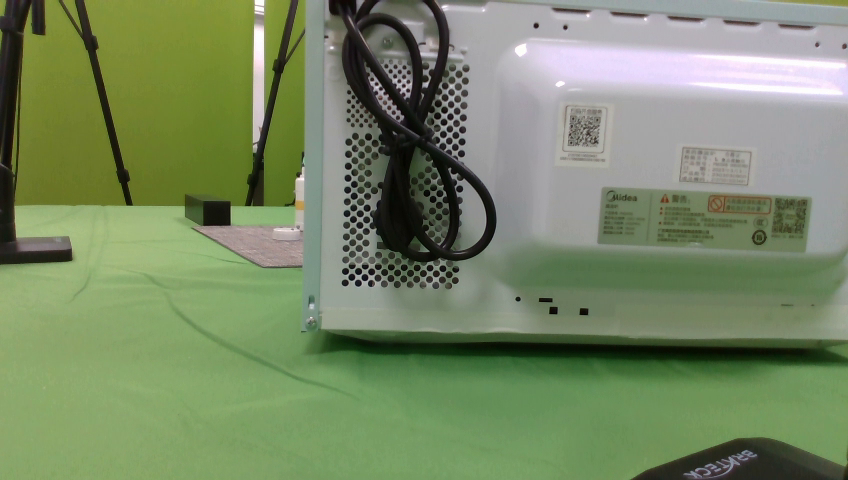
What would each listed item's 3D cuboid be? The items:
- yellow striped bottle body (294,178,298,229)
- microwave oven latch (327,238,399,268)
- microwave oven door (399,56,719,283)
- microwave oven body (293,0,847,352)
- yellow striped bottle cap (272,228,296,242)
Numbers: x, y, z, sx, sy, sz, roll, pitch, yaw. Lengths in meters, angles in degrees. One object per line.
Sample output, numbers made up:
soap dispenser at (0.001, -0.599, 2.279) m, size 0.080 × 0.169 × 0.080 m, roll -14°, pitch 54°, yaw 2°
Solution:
yellow striped bottle body at (-0.213, -0.078, 1.142) m, size 0.063 × 0.120 × 0.063 m, roll 2°, pitch 8°, yaw 0°
microwave oven latch at (-0.069, 0.015, 0.694) m, size 0.079 × 0.029 × 0.030 m, roll 3°, pitch 7°, yaw -3°
microwave oven door at (0.155, -0.078, 0.698) m, size 0.356 × 0.243 × 0.039 m, roll 2°, pitch 8°, yaw -5°
microwave oven body at (0.122, -0.055, 0.550) m, size 0.442 × 0.260 × 0.325 m, roll 3°, pitch 7°, yaw -5°
yellow striped bottle cap at (-0.232, -0.008, 1.012) m, size 0.044 × 0.018 × 0.044 m, roll 4°, pitch 8°, yaw 0°
